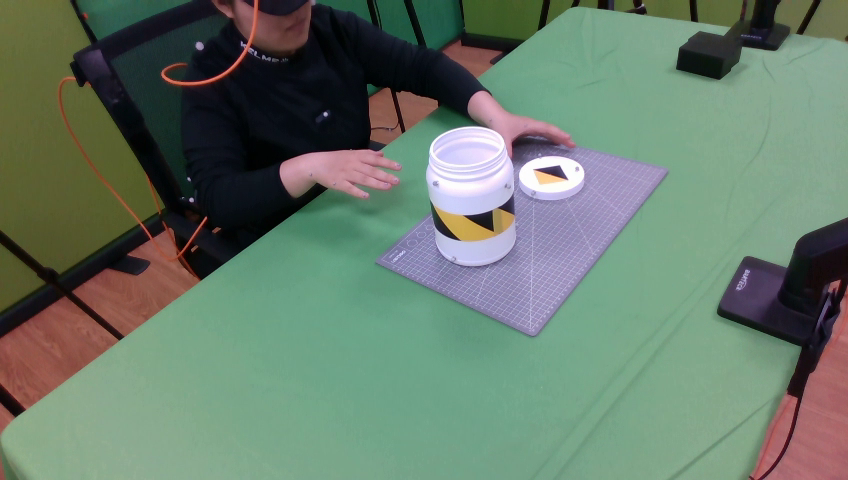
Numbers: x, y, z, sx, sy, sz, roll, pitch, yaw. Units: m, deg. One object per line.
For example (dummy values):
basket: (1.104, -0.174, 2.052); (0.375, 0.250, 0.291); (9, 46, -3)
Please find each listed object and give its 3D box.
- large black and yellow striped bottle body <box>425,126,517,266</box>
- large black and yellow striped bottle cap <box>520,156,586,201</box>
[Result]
large black and yellow striped bottle body: (0.072, -0.066, 0.917); (0.131, 0.185, 0.130); (-5, 40, 5)
large black and yellow striped bottle cap: (0.228, -0.111, 1.072); (0.115, 0.019, 0.114); (-6, 40, 6)
